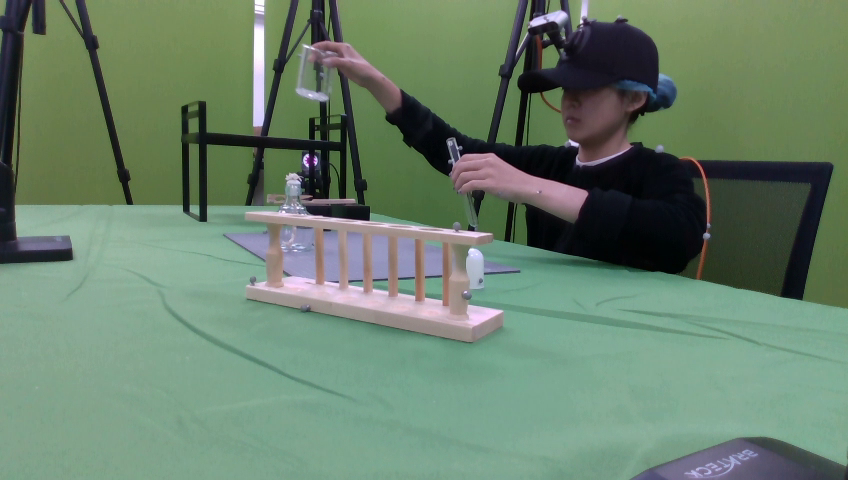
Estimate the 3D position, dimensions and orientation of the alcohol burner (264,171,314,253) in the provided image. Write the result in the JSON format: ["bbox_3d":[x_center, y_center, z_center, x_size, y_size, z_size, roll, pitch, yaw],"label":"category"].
[{"bbox_3d":[-0.194,-0.042,0.888,0.078,0.119,0.078,3,5,0],"label":"alcohol burner"}]

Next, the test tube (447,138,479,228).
[{"bbox_3d":[0.062,-0.091,0.957,0.017,0.150,0.017,-14,-10,-2],"label":"test tube"}]

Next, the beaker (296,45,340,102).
[{"bbox_3d":[-0.216,-0.334,1.222,0.074,0.100,0.083,7,17,-24],"label":"beaker"}]

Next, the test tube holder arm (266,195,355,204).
[{"bbox_3d":[-0.222,-0.081,1.196,0.179,0.013,0.015,-4,3,-30],"label":"test tube holder arm"}]

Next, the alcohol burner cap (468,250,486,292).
[{"bbox_3d":[0.056,0.035,0.690,0.034,0.048,0.034,2,7,0],"label":"alcohol burner cap"}]

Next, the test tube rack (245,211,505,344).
[{"bbox_3d":[-0.049,0.025,0.547,0.241,0.085,0.067,7,8,29],"label":"test tube rack"}]

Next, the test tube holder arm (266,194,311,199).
[{"bbox_3d":[-0.262,-0.084,1.173,0.088,0.010,0.015,-3,2,-30],"label":"test tube holder arm"}]
